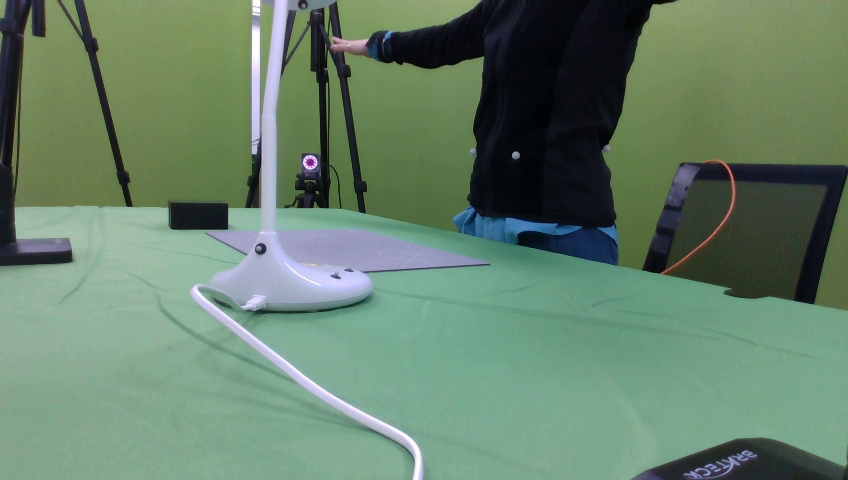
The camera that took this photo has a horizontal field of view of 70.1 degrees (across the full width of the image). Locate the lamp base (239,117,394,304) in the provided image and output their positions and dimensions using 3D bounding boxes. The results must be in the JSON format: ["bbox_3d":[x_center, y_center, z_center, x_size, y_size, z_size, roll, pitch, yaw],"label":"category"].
[{"bbox_3d":[-0.106,-0.034,0.619,0.161,0.180,0.178,0,10,-17],"label":"lamp base"}]

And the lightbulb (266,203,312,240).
[{"bbox_3d":[-0.224,-0.026,1.032,0.059,0.059,0.108,8,25,38],"label":"lightbulb"}]
